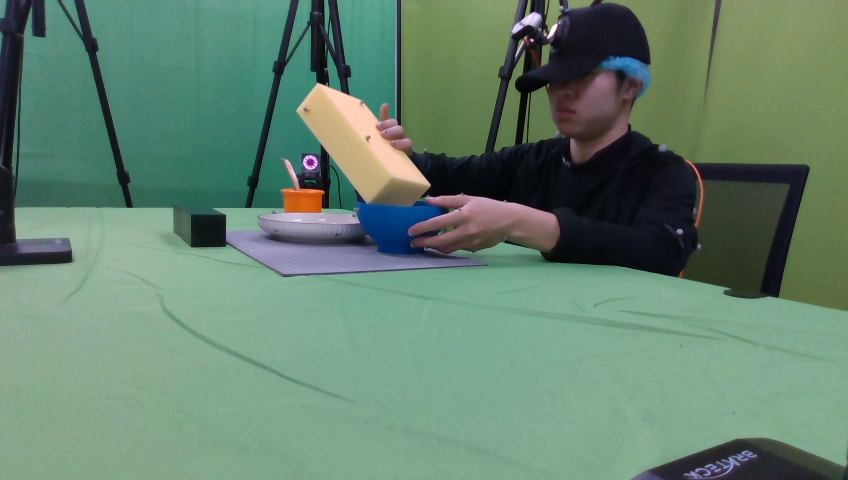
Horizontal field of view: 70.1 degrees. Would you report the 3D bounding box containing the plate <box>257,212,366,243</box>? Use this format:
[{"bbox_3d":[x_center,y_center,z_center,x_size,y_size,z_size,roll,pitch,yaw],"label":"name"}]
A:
[{"bbox_3d":[-0.189,-0.023,1.072,0.209,0.038,0.209,3,7,0],"label":"plate"}]

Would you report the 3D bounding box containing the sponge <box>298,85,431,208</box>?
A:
[{"bbox_3d":[-0.095,-0.145,0.966,0.206,0.061,0.119,52,21,19],"label":"sponge"}]

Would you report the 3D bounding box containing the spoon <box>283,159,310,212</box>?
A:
[{"bbox_3d":[-0.279,-0.111,1.324,0.042,0.193,0.021,3,-39,-35],"label":"spoon"}]

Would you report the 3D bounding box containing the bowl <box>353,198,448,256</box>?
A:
[{"bbox_3d":[-0.039,-0.020,0.952,0.151,0.077,0.151,4,9,0],"label":"bowl"}]
